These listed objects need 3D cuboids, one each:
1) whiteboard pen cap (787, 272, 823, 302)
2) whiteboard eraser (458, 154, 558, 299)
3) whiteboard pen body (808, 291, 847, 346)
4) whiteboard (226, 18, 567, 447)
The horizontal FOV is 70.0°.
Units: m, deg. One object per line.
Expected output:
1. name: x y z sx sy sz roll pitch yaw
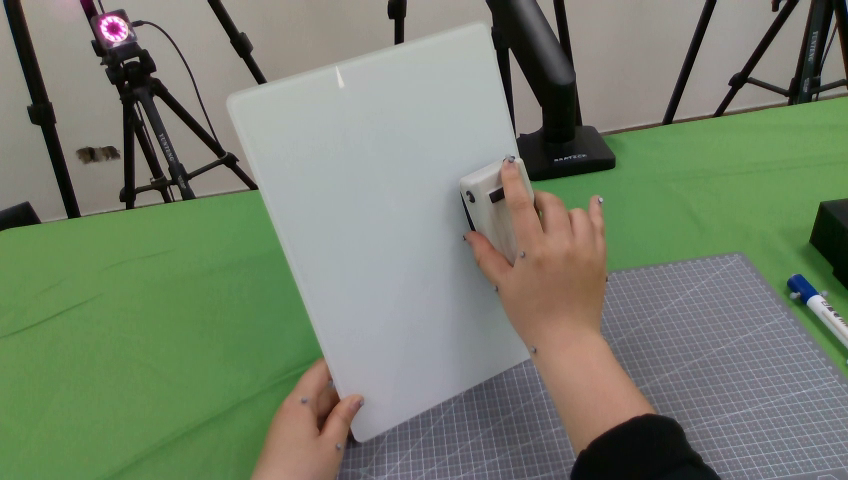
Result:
1. whiteboard pen cap: 0.368 0.046 0.584 0.018 0.018 0.033 -10 34 -1
2. whiteboard eraser: 0.070 -0.011 0.509 0.055 0.113 0.041 -25 19 -14
3. whiteboard pen body: 0.374 0.080 0.537 0.017 0.017 0.139 -10 35 0
4. whiteboard: -0.025 -0.014 0.561 0.217 0.307 0.143 -22 18 -16
